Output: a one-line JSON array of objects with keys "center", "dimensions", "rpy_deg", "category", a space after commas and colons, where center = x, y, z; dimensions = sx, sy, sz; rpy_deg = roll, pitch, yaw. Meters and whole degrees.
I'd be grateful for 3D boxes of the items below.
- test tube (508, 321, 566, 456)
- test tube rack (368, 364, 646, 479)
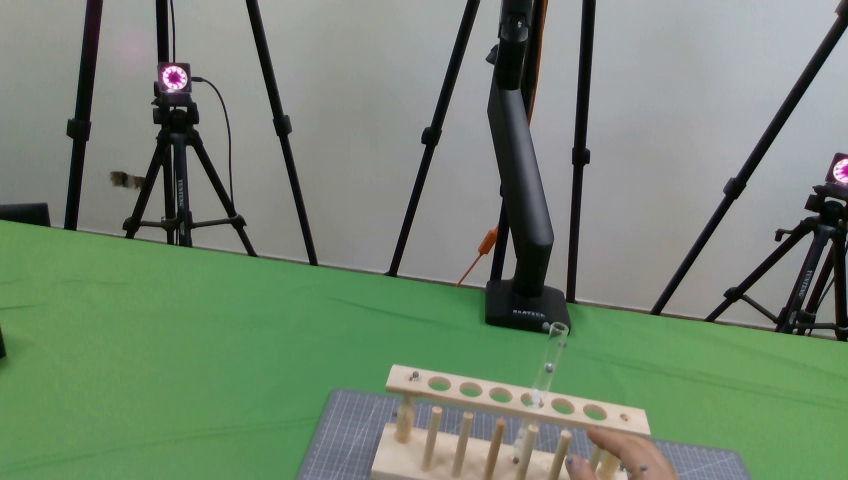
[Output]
[{"center": [0.103, 0.142, 0.562], "dimensions": [0.017, 0.151, 0.017], "rpy_deg": [11, 23, -4], "category": "test tube"}, {"center": [0.076, 0.190, 0.569], "dimensions": [0.242, 0.086, 0.066], "rpy_deg": [9, 25, 4], "category": "test tube rack"}]
